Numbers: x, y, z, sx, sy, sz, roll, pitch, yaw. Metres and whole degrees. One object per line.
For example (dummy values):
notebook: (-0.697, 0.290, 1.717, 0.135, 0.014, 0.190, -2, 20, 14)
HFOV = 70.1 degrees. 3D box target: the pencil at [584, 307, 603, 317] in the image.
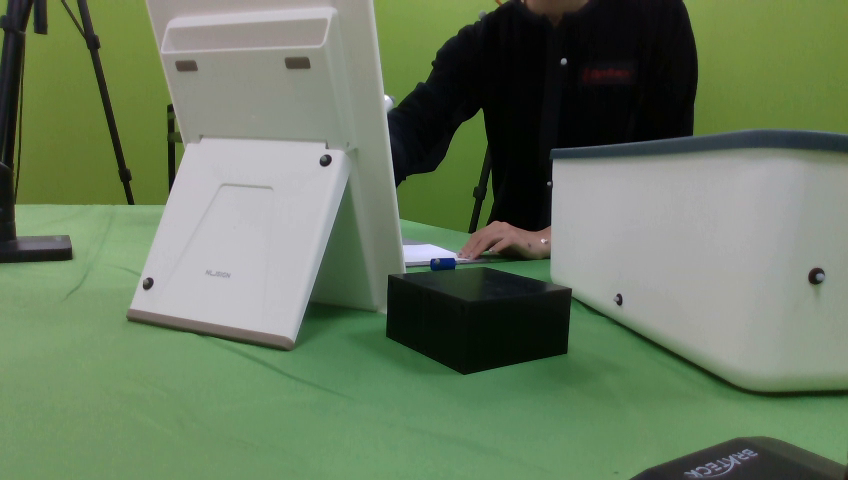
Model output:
pencil: (0.250, 0.055, 0.656, 0.195, 0.012, 0.012, -13, 14, -26)

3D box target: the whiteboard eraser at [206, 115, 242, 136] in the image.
whiteboard eraser: (-0.438, -0.249, 1.320, 0.056, 0.042, 0.112, -3, 9, -30)

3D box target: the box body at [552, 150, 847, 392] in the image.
box body: (0.290, 0.002, 0.549, 0.255, 0.160, 0.363, 2, 7, -10)

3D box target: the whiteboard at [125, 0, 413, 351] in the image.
whiteboard: (-0.151, -0.050, 0.471, 0.216, 0.305, 0.144, 6, 27, 24)

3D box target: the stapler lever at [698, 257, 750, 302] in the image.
stapler lever: (0.290, 0.035, 0.580, 0.026, 0.040, 0.119, 30, 20, 34)

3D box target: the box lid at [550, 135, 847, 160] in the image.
box lid: (0.294, -0.071, 0.538, 0.264, 0.015, 0.370, 2, 6, -10)

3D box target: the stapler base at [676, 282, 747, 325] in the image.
stapler base: (0.283, 0.057, 0.585, 0.041, 0.024, 0.131, 30, 18, 34)

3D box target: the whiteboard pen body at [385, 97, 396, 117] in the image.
whiteboard pen body: (-0.052, -0.110, 0.581, 0.017, 0.017, 0.141, 4, 31, 13)

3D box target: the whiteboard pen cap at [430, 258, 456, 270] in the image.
whiteboard pen cap: (0.024, 0.031, 0.791, 0.033, 0.018, 0.018, 0, 8, -12)
